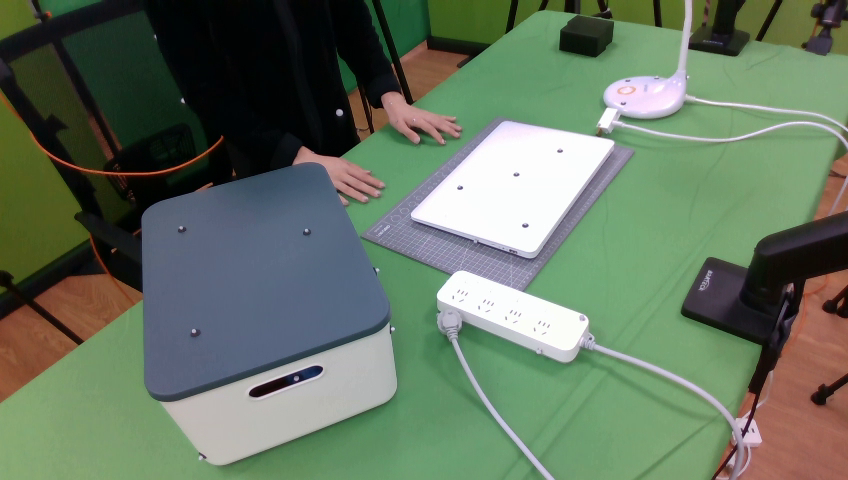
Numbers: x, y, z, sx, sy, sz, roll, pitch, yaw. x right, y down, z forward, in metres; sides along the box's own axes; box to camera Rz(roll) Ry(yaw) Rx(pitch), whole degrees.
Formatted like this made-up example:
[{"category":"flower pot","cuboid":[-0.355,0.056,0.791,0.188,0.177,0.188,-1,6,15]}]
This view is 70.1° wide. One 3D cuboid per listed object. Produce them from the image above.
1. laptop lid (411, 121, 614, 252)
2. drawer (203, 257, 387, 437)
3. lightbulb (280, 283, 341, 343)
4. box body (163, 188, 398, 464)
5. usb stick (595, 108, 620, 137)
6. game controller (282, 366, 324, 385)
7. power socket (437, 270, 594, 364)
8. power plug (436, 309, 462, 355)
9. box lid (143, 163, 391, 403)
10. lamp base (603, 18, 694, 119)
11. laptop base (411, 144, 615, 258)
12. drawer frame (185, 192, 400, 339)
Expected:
[{"category":"laptop lid","cuboid":[0.164,-0.112,1.068,0.240,0.013,0.357,19,46,30]},{"category":"drawer","cuboid":[-0.171,0.127,0.779,0.195,0.073,0.210,-16,35,-15]},{"category":"lightbulb","cuboid":[-0.152,0.102,0.826,0.060,0.060,0.107,-35,61,-29]},{"category":"box body","cuboid":[-0.205,0.080,0.802,0.255,0.161,0.361,-18,41,-13]},{"category":"usb stick","cuboid":[0.355,-0.226,1.175,0.027,0.022,0.059,29,85,40]},{"category":"game controller","cuboid":[-0.159,0.114,0.735,0.154,0.052,0.097,29,51,34]},{"category":"power socket","cuboid":[0.118,0.102,0.830,0.225,0.033,0.072,20,48,28]},{"category":"power plug","cuboid":[0.032,0.126,0.809,0.035,0.053,0.072,3,59,7]},{"category":"box lid","cuboid":[-0.212,0.025,0.753,0.264,0.015,0.368,-18,40,-13]},{"category":"lamp base","cuboid":[0.460,-0.355,1.204,0.179,0.181,0.160,2,41,7]},{"category":"laptop base","cuboid":[0.167,-0.102,1.074,0.234,0.023,0.355,17,45,30]},{"category":"drawer frame","cuboid":[-0.174,0.079,0.769,0.201,0.214,0.082,-31,18,25]}]
